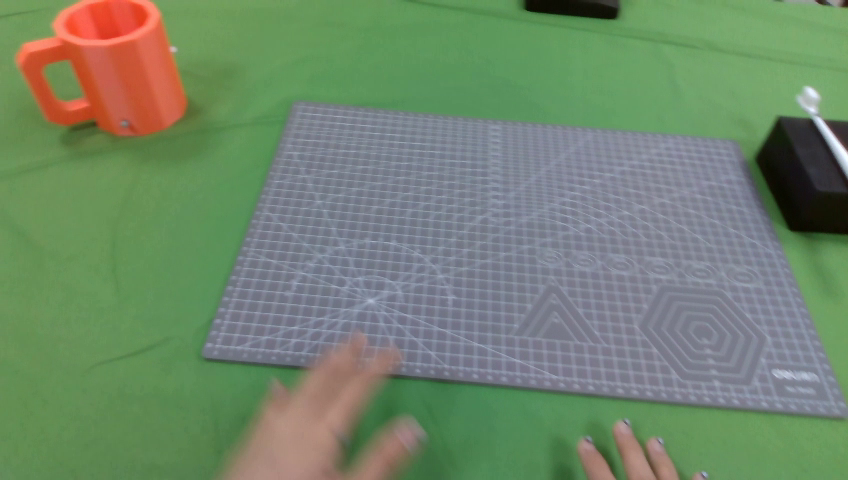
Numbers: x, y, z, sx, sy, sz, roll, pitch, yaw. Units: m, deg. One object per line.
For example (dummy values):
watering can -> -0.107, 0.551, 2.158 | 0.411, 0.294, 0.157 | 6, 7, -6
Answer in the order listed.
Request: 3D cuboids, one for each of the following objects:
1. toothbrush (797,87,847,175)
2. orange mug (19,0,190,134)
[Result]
toothbrush -> 0.363, -0.074, 0.521 | 0.014, 0.017, 0.180 | 5, 49, -4
orange mug -> -0.287, -0.156, 0.551 | 0.126, 0.101, 0.082 | -21, 54, -27
